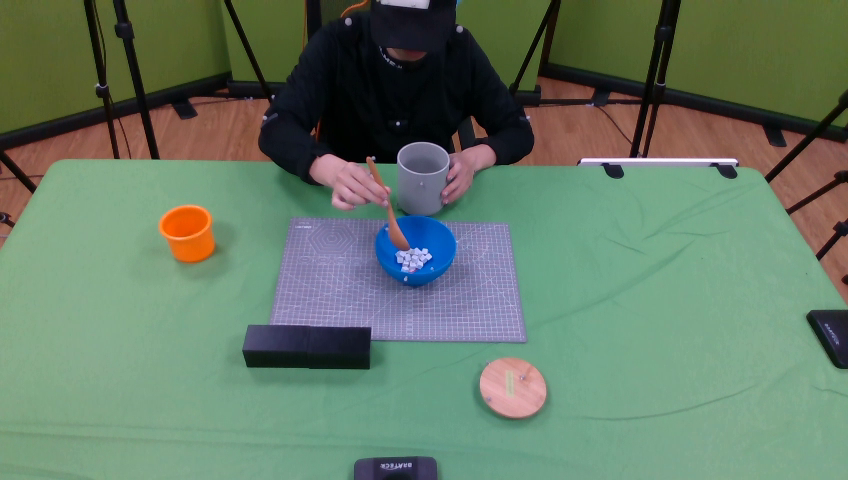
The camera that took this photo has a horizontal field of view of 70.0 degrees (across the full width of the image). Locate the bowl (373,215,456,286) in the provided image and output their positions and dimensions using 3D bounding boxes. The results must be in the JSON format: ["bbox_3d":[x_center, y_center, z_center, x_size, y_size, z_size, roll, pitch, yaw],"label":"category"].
[{"bbox_3d":[-0.019,0.032,1.123,0.151,0.077,0.150,2,46,-2],"label":"bowl"}]

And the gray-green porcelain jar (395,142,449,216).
[{"bbox_3d":[-0.007,-0.120,1.241,0.106,0.127,0.105,2,46,-2],"label":"gray-green porcelain jar"}]

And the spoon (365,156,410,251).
[{"bbox_3d":[-0.066,-0.059,1.043,0.041,0.194,0.021,8,36,41],"label":"spoon"}]

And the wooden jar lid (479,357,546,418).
[{"bbox_3d":[0.142,0.240,0.979,0.108,0.021,0.107,1,46,-1],"label":"wooden jar lid"}]
